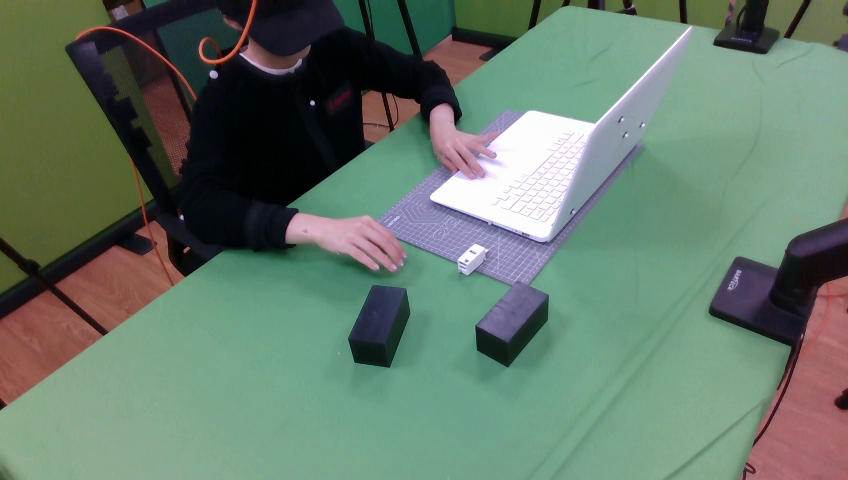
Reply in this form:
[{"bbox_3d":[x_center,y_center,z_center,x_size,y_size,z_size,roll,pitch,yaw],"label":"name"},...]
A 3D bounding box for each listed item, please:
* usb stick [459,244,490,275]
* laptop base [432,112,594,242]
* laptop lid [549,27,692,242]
[{"bbox_3d":[0.080,0.026,0.926,0.021,0.027,0.059,27,49,33],"label":"usb stick"},{"bbox_3d":[0.208,-0.129,1.098,0.233,0.023,0.355,20,47,33],"label":"laptop base"},{"bbox_3d":[0.311,-0.167,0.948,0.013,0.242,0.358,33,52,20],"label":"laptop lid"}]
